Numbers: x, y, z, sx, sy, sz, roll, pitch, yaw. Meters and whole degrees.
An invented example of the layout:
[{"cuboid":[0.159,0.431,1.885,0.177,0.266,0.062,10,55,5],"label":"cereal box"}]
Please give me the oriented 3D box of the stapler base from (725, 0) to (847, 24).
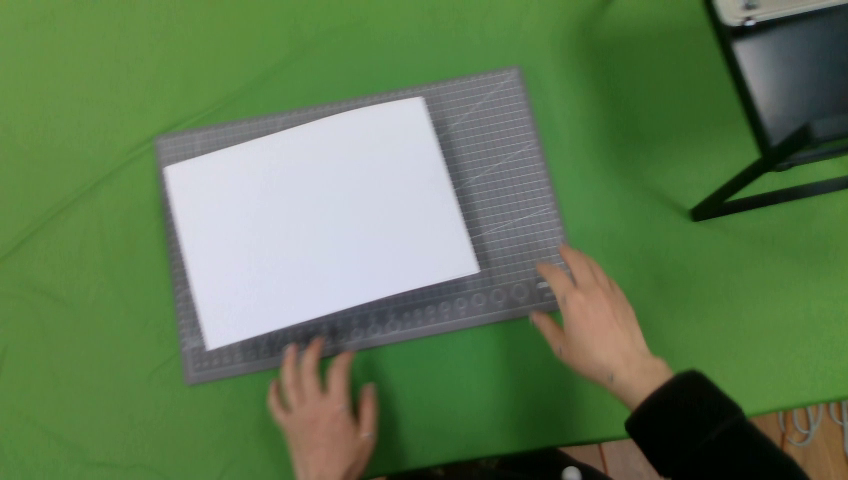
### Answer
[{"cuboid":[0.336,-0.226,0.537,0.130,0.024,0.041,-12,80,-3],"label":"stapler base"}]
